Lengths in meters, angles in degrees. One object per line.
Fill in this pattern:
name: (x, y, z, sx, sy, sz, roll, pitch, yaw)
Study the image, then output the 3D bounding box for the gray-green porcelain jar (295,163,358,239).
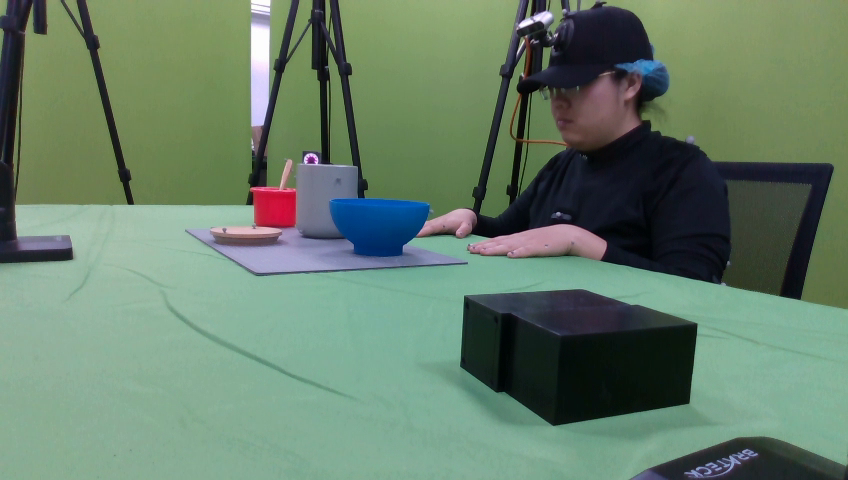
gray-green porcelain jar: (-0.170, -0.069, 1.054, 0.106, 0.126, 0.106, 3, 7, 0)

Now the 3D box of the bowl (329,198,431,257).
bowl: (-0.066, -0.019, 0.895, 0.151, 0.077, 0.151, 3, 7, 0)

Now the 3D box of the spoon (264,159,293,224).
spoon: (-0.288, -0.102, 1.227, 0.041, 0.021, 0.193, 1, 51, 3)

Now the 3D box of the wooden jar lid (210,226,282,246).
wooden jar lid: (-0.279, -0.007, 0.951, 0.108, 0.020, 0.108, 2, 8, 0)
